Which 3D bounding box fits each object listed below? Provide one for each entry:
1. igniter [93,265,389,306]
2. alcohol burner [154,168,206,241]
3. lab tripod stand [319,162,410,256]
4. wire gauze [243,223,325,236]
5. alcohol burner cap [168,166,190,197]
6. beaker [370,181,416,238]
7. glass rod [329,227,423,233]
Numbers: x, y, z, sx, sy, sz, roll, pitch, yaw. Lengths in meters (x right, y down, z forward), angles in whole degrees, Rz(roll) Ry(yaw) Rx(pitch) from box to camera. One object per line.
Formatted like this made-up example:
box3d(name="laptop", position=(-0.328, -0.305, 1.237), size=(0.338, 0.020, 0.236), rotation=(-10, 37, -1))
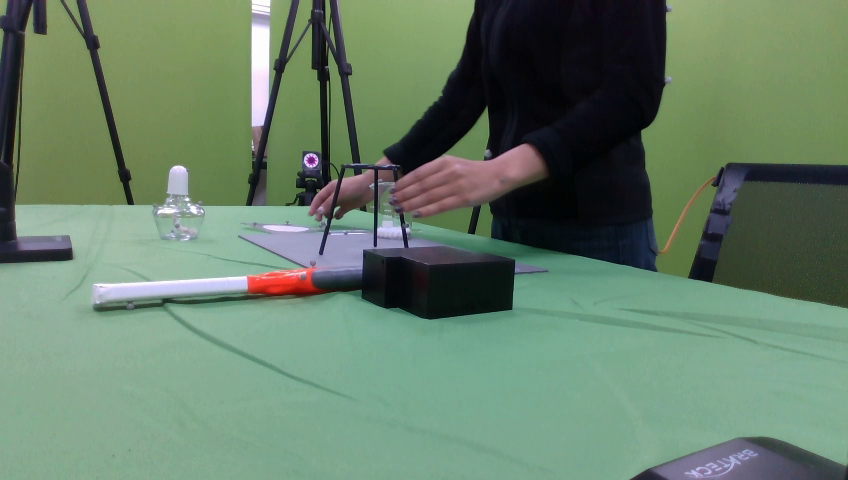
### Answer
box3d(name="igniter", position=(-0.164, 0.042, 0.589), size=(0.278, 0.025, 0.057), rotation=(-2, -7, -31))
box3d(name="alcohol burner", position=(-0.393, -0.059, 0.974), size=(0.078, 0.119, 0.078), rotation=(1, 8, 0))
box3d(name="lab tripod stand", position=(-0.081, -0.047, 0.879), size=(0.148, 0.131, 0.148), rotation=(2, 9, 0))
box3d(name="wire gauze", position=(-0.266, -0.024, 1.156), size=(0.124, 0.011, 0.122), rotation=(12, 12, 40))
box3d(name="alcohol burner cap", position=(-0.392, -0.095, 0.970), size=(0.034, 0.048, 0.034), rotation=(7, 8, -1))
box3d(name="beaker", position=(-0.057, -0.056, 1.090), size=(0.084, 0.100, 0.074), rotation=(1, 7, 0))
box3d(name="glass rod", position=(-0.087, -0.019, 1.148), size=(0.201, 0.008, 0.008), rotation=(-3, 8, -32))
